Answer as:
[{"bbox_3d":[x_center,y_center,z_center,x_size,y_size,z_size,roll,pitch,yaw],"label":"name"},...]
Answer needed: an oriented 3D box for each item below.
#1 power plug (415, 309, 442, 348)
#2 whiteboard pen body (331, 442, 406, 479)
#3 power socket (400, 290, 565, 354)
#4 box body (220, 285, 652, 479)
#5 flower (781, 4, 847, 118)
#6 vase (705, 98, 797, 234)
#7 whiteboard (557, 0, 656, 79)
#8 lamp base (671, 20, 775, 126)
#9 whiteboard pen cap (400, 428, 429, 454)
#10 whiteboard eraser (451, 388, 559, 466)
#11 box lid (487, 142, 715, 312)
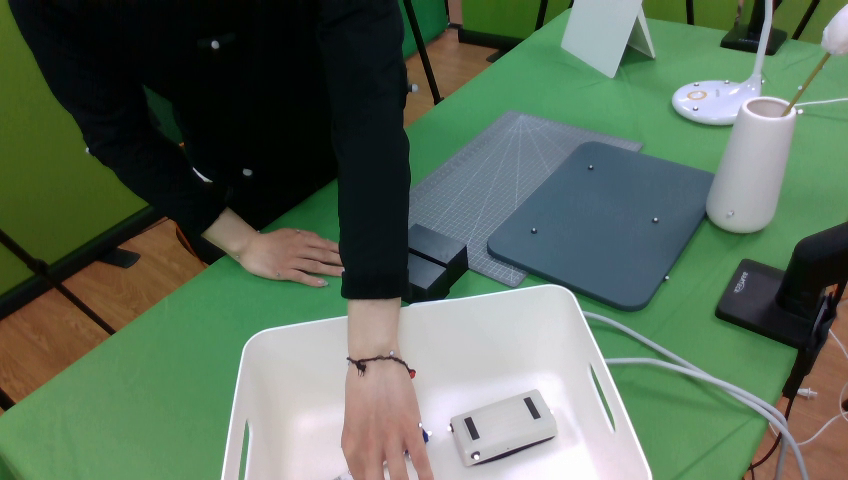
[{"bbox_3d":[0.004,0.121,0.786,0.035,0.053,0.072,2,45,8],"label":"power plug"},{"bbox_3d":[-0.063,0.255,0.678,0.141,0.017,0.017,-23,43,-23],"label":"whiteboard pen body"},{"bbox_3d":[0.079,0.111,0.823,0.227,0.033,0.072,-6,41,1],"label":"power socket"},{"bbox_3d":[0.005,0.211,0.616,0.364,0.161,0.252,-9,40,-2],"label":"box body"},{"bbox_3d":[0.480,-0.157,0.824,0.044,0.362,0.038,-8,56,-9],"label":"flower"},{"bbox_3d":[0.481,-0.104,0.888,0.098,0.201,0.097,-4,42,4],"label":"vase"},{"bbox_3d":[0.463,-0.542,1.366,0.145,0.306,0.215,-3,36,-25],"label":"whiteboard"},{"bbox_3d":[0.582,-0.332,1.154,0.179,0.181,0.160,2,41,7],"label":"lamp base"},{"bbox_3d":[-0.012,0.232,0.695,0.033,0.018,0.018,-24,43,-19],"label":"whiteboard pen cap"},{"bbox_3d":[0.091,0.212,0.682,0.113,0.042,0.055,-17,40,-8],"label":"whiteboard eraser"},{"bbox_3d":[0.299,-0.041,0.986,0.261,0.015,0.372,23,49,30],"label":"box lid"}]
